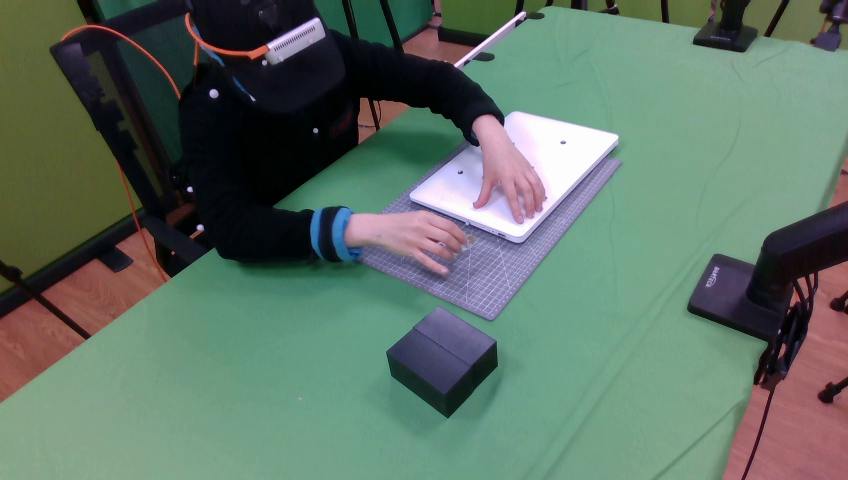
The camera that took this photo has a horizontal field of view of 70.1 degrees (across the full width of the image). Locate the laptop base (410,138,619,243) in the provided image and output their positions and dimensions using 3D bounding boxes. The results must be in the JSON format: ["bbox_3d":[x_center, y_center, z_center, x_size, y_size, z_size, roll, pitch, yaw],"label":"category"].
[{"bbox_3d":[0.170,-0.126,1.096,0.233,0.023,0.355,22,47,34],"label":"laptop base"}]

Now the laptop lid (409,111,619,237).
[{"bbox_3d":[0.167,-0.136,1.089,0.239,0.013,0.358,24,49,34],"label":"laptop lid"}]

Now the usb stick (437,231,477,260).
[{"bbox_3d":[0.051,0.005,0.907,0.059,0.027,0.021,-25,29,-12],"label":"usb stick"}]
